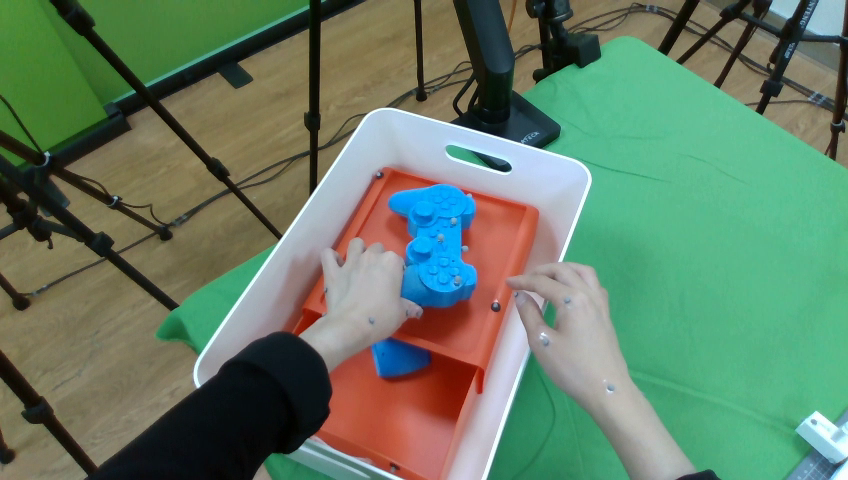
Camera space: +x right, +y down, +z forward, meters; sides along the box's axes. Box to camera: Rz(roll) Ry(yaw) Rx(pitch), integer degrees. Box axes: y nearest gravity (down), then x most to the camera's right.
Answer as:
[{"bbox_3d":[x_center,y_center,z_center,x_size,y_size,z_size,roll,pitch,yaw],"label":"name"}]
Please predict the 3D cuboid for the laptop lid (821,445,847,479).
[{"bbox_3d":[0.464,0.351,0.484,0.241,0.013,0.353,-36,62,-18],"label":"laptop lid"}]

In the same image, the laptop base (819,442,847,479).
[{"bbox_3d":[0.467,0.356,0.494,0.235,0.023,0.351,-38,63,-18],"label":"laptop base"}]

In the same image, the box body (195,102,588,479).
[{"bbox_3d":[-0.010,0.060,0.621,0.253,0.162,0.362,19,58,13],"label":"box body"}]

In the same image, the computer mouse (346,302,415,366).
[{"bbox_3d":[-0.046,0.095,0.659,0.063,0.041,0.116,-7,16,7],"label":"computer mouse"}]

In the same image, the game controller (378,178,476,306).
[{"bbox_3d":[0.005,-0.004,0.629,0.097,0.052,0.153,4,53,-2],"label":"game controller"}]

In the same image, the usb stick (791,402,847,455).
[{"bbox_3d":[0.396,0.190,0.594,0.021,0.027,0.058,-31,63,-24],"label":"usb stick"}]
